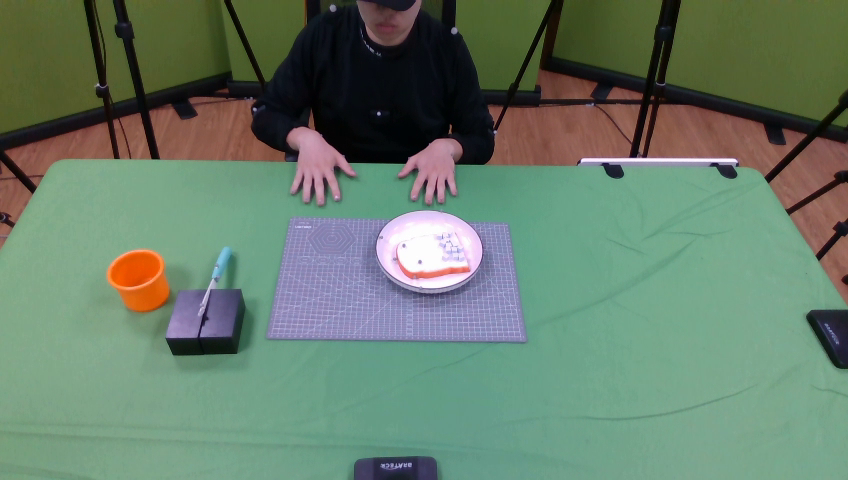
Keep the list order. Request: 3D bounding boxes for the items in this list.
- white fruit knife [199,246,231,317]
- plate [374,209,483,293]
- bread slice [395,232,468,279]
[{"bbox_3d":[-0.367,0.069,1.063,0.016,0.027,0.206,-1,32,-4],"label":"white fruit knife"},{"bbox_3d":[0.009,0.024,1.160,0.209,0.038,0.208,2,46,-2],"label":"plate"},{"bbox_3d":[0.011,0.030,1.158,0.132,0.019,0.104,-8,47,-14],"label":"bread slice"}]
